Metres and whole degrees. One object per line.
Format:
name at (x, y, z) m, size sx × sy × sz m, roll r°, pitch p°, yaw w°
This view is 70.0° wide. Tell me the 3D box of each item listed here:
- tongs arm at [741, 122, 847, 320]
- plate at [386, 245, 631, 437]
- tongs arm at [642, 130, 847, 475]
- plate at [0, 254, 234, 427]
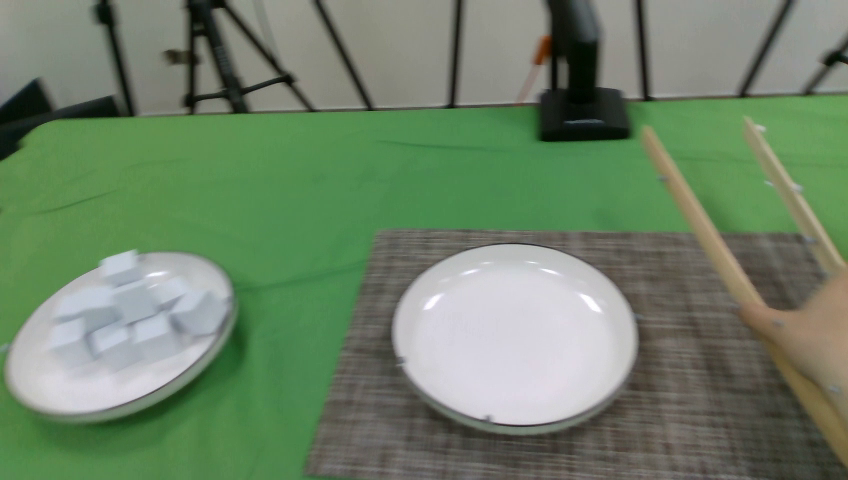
tongs arm at (0.329, 0.024, 0.518) m, size 0.051 × 0.027 × 0.380 m, roll -2°, pitch 47°, yaw -1°
plate at (0.072, 0.085, 0.532) m, size 0.207 × 0.039 × 0.205 m, roll -4°, pitch 40°, yaw 4°
tongs arm at (0.269, 0.029, 0.517) m, size 0.028 × 0.028 × 0.383 m, roll -5°, pitch 47°, yaw -8°
plate at (-0.283, 0.093, 0.581) m, size 0.209 × 0.038 × 0.207 m, roll -4°, pitch 39°, yaw 4°
